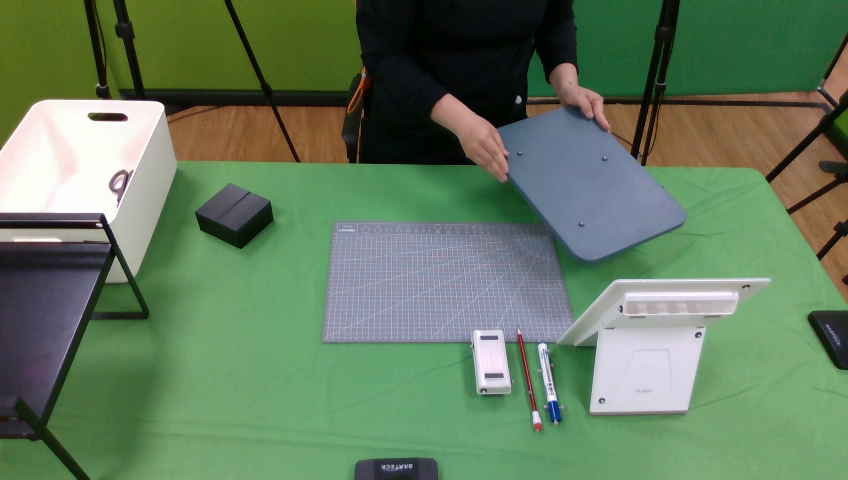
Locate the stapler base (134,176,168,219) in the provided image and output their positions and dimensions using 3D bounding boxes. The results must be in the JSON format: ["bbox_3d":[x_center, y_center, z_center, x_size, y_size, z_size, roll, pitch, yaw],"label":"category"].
[{"bbox_3d":[-0.558,-0.093,1.234,0.041,0.024,0.129,1,42,-8],"label":"stapler base"}]

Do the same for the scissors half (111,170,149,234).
[{"bbox_3d":[-0.596,-0.078,1.223,0.040,0.013,0.174,6,51,2],"label":"scissors half"}]

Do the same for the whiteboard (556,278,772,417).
[{"bbox_3d":[0.347,0.174,0.903,0.217,0.306,0.143,1,65,-4],"label":"whiteboard"}]

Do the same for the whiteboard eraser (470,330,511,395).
[{"bbox_3d":[0.110,0.202,0.998,0.055,0.042,0.112,1,46,-5],"label":"whiteboard eraser"}]

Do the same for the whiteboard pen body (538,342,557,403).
[{"bbox_3d":[0.205,0.228,0.997,0.017,0.017,0.140,1,46,-3],"label":"whiteboard pen body"}]

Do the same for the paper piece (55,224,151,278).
[{"bbox_3d":[-0.595,0.018,1.129,0.135,0.004,0.135,1,46,-2],"label":"paper piece"}]

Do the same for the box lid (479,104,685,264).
[{"bbox_3d":[0.302,-0.124,1.185,0.263,0.015,0.369,-21,57,-20],"label":"box lid"}]

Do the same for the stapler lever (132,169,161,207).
[{"bbox_3d":[-0.557,-0.113,1.218,0.027,0.040,0.117,1,42,-8],"label":"stapler lever"}]

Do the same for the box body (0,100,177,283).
[{"bbox_3d":[-0.639,-0.095,1.140,0.254,0.161,0.361,1,46,-4],"label":"box body"}]

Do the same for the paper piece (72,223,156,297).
[{"bbox_3d":[-0.598,0.034,1.141,0.136,0.009,0.137,15,51,-14],"label":"paper piece"}]

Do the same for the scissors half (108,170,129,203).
[{"bbox_3d":[-0.618,-0.077,1.222,0.040,0.013,0.174,-14,52,-8],"label":"scissors half"}]

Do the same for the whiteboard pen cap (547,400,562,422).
[{"bbox_3d":[0.205,0.269,0.956,0.018,0.018,0.033,0,47,-5],"label":"whiteboard pen cap"}]

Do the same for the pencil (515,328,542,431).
[{"bbox_3d":[0.169,0.224,1.002,0.012,0.012,0.192,-1,46,-6],"label":"pencil"}]
